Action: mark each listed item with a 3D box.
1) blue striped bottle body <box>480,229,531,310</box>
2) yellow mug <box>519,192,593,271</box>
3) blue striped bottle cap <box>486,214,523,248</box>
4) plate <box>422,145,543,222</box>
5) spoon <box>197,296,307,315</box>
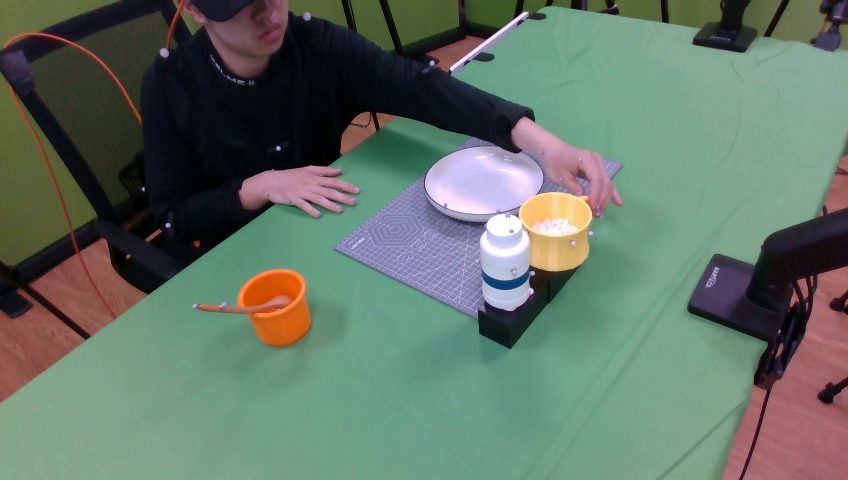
[{"bbox_3d":[0.104,0.027,0.769,0.063,0.121,0.063,-4,40,4],"label":"blue striped bottle body"},{"bbox_3d":[0.195,-0.021,0.855,0.131,0.064,0.099,-32,47,-28],"label":"yellow mug"},{"bbox_3d":[0.098,-0.011,0.735,0.044,0.021,0.044,-3,38,3],"label":"blue striped bottle cap"},{"bbox_3d":[0.101,-0.094,1.048,0.207,0.039,0.206,-4,41,4],"label":"plate"},{"bbox_3d":[-0.220,0.089,0.792,0.041,0.021,0.195,20,7,25],"label":"spoon"}]
